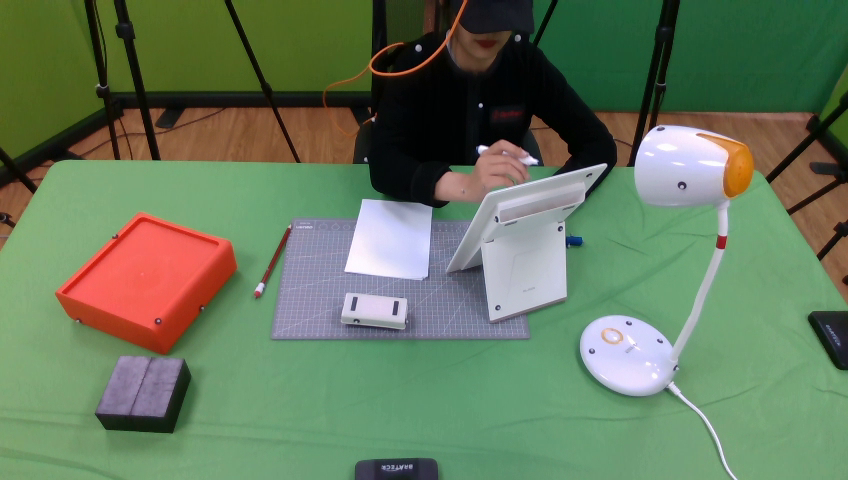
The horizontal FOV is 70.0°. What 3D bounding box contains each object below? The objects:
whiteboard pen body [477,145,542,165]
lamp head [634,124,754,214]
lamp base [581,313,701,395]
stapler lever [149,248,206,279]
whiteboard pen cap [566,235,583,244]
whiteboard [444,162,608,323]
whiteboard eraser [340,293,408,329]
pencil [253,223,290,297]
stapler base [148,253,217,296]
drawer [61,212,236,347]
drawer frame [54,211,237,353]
[{"bbox_3d":[0.147,-0.145,1.048,0.017,0.017,0.140,-35,38,-31],"label":"whiteboard pen body"},{"bbox_3d":[0.351,-0.089,0.775,0.112,0.113,0.122,-30,30,-28],"label":"lamp head"},{"bbox_3d":[0.361,0.144,0.972,0.178,0.181,0.160,34,53,23],"label":"lamp base"},{"bbox_3d":[-0.443,0.037,1.084,0.118,0.040,0.027,19,50,17],"label":"stapler lever"},{"bbox_3d":[0.303,0.000,1.221,0.033,0.018,0.018,3,46,-2],"label":"whiteboard pen cap"},{"bbox_3d":[0.186,0.026,1.028,0.217,0.306,0.143,-14,68,-17],"label":"whiteboard"},{"bbox_3d":[-0.087,0.125,1.052,0.113,0.042,0.055,5,45,1],"label":"whiteboard eraser"},{"bbox_3d":[-0.286,0.033,1.150,0.012,0.012,0.193,9,46,4],"label":"pencil"},{"bbox_3d":[-0.443,0.059,1.109,0.130,0.024,0.041,24,51,11],"label":"stapler base"},{"bbox_3d":[-0.473,0.064,1.059,0.194,0.073,0.211,18,48,11],"label":"drawer"},{"bbox_3d":[-0.473,0.067,1.055,0.201,0.083,0.212,17,48,11],"label":"drawer frame"}]
